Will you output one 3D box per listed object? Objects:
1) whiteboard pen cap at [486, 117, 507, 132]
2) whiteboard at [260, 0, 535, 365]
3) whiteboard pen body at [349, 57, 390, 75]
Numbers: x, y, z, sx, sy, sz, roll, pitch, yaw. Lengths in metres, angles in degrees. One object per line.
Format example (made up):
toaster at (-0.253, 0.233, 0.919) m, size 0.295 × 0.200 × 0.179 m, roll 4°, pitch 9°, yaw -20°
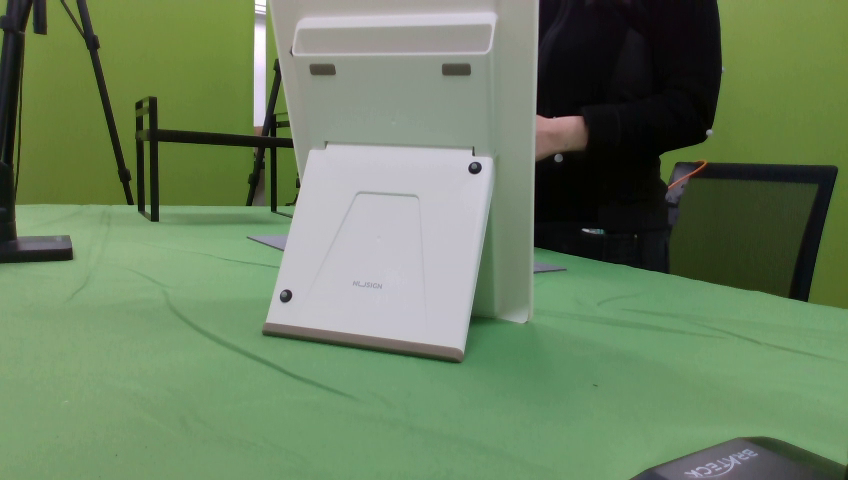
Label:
whiteboard pen cap at (0.114, -0.184, 0.961) m, size 0.033 × 0.018 × 0.018 m, roll 20°, pitch 14°, yaw 20°
whiteboard at (-0.037, -0.041, 0.457) m, size 0.216 × 0.305 × 0.144 m, roll 5°, pitch 28°, yaw 19°
whiteboard pen body at (-0.101, -0.321, 1.124) m, size 0.017 × 0.017 × 0.140 m, roll -4°, pitch 25°, yaw -38°
